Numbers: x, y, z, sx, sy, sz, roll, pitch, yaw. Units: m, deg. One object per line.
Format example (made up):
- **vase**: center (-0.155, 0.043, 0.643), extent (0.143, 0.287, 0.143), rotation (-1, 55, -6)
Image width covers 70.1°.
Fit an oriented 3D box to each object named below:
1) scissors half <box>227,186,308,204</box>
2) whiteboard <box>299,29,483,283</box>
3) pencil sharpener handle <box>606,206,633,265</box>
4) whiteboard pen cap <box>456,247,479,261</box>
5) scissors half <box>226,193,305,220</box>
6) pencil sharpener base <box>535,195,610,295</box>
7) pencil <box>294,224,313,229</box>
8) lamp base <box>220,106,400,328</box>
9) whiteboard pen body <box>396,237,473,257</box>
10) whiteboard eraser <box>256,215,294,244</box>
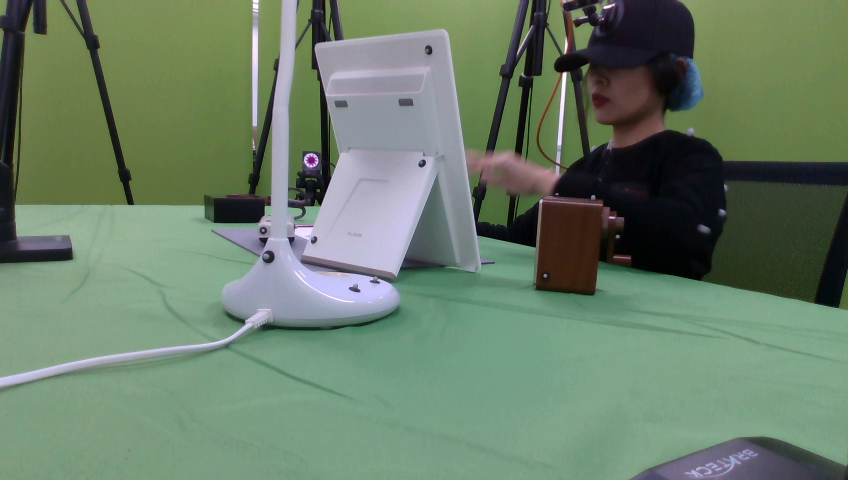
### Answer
- **scissors half**: center (-0.336, -0.096, 1.305), extent (0.176, 0.040, 0.013), rotation (-3, 16, -29)
- **whiteboard**: center (-0.074, -0.082, 0.742), extent (0.216, 0.305, 0.144), rotation (9, 30, 38)
- **pencil sharpener handle**: center (0.223, -0.004, 0.683), extent (0.030, 0.068, 0.036), rotation (5, 20, 17)
- **whiteboard pen cap**: center (0.060, 0.020, 0.851), extent (0.033, 0.018, 0.018), rotation (10, 10, 37)
- **scissors half**: center (-0.341, -0.077, 1.310), extent (0.176, 0.040, 0.012), rotation (17, 11, -33)
- **pencil sharpener base**: center (0.172, 0.005, 0.696), extent (0.076, 0.107, 0.061), rotation (5, 8, 16)
- **pencil**: center (-0.221, -0.029, 1.211), extent (0.195, 0.012, 0.012), rotation (-4, 10, -34)
- **lamp base**: center (-0.101, -0.023, 0.531), extent (0.160, 0.180, 0.179), rotation (4, 10, 10)
- **whiteboard pen body**: center (0.014, 0.012, 0.886), extent (0.140, 0.017, 0.017), rotation (10, 11, 38)
- **whiteboard eraser**: center (-0.232, -0.016, 0.951), extent (0.056, 0.042, 0.112), rotation (2, 7, -12)
